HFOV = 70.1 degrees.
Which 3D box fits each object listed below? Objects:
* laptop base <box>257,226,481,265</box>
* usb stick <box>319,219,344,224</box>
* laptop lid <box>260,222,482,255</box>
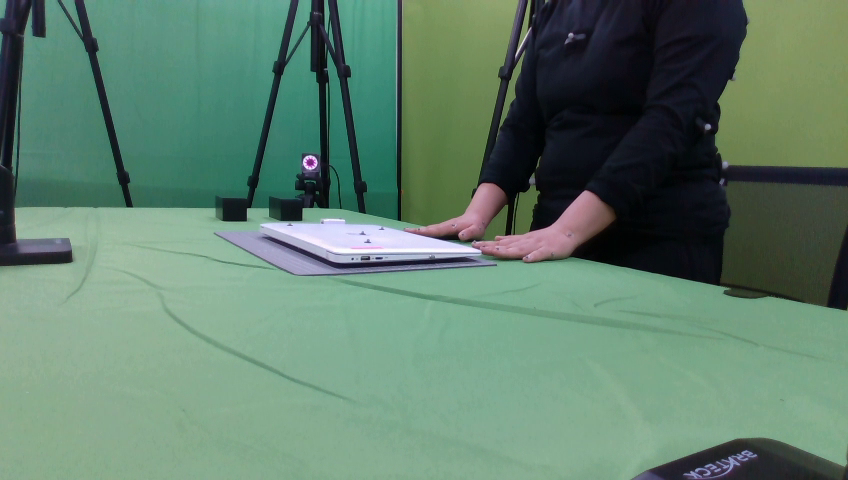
[{"bbox_3d":[-0.103,0.007,0.962,0.237,0.023,0.352,2,6,-32],"label":"laptop base"},{"bbox_3d":[-0.184,-0.027,1.153,0.059,0.027,0.021,-5,14,-31],"label":"usb stick"},{"bbox_3d":[-0.100,-0.005,0.962,0.243,0.013,0.355,1,7,-30],"label":"laptop lid"}]
